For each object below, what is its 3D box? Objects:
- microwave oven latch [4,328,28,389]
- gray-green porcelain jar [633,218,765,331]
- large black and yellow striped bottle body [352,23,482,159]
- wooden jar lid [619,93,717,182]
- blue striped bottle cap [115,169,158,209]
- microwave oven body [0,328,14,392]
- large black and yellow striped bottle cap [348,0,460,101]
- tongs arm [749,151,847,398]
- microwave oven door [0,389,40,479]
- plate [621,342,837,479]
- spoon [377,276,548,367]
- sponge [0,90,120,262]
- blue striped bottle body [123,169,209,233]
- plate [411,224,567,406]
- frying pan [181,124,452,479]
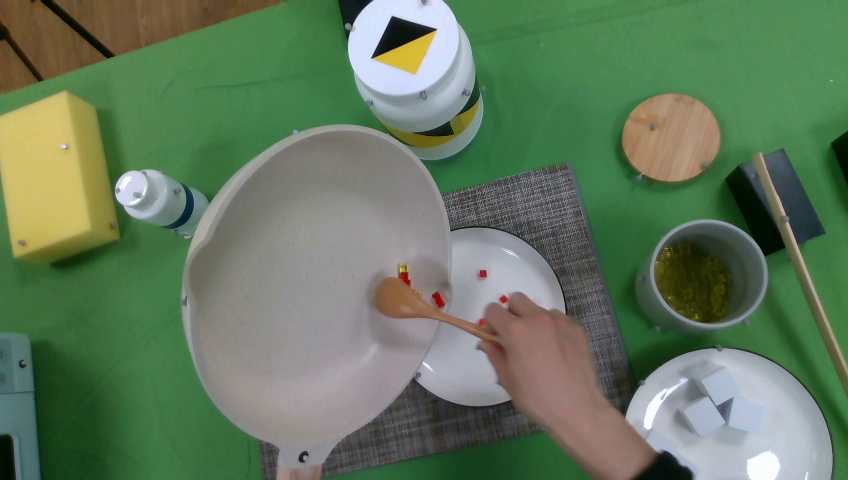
[{"bbox_3d":[-0.536,0.154,0.786,0.030,0.029,0.079,-11,79,8],"label":"microwave oven latch"},{"bbox_3d":[0.278,0.041,0.633,0.105,0.127,0.105,-2,79,10],"label":"gray-green porcelain jar"},{"bbox_3d":[-0.006,-0.181,0.694,0.130,0.185,0.130,-2,79,10],"label":"large black and yellow striped bottle body"},{"bbox_3d":[0.286,-0.120,0.714,0.108,0.021,0.108,-2,81,10],"label":"wooden jar lid"},{"bbox_3d":[-0.339,-0.060,0.712,0.044,0.021,0.044,-1,81,10],"label":"blue striped bottle cap"},{"bbox_3d":[-0.659,0.341,0.677,0.326,0.261,0.439,-14,78,7],"label":"microwave oven body"},{"bbox_3d":[-0.021,-0.198,0.612,0.115,0.019,0.114,-2,81,10],"label":"large black and yellow striped bottle cap"},{"bbox_3d":[0.425,0.083,0.616,0.051,0.026,0.384,-19,88,5],"label":"tongs arm"},{"bbox_3d":[-0.511,0.345,0.644,0.039,0.245,0.354,-14,78,8],"label":"microwave oven door"},{"bbox_3d":[0.315,0.213,0.642,0.207,0.039,0.207,-2,80,10],"label":"plate"},{"bbox_3d":[0.032,0.080,0.591,0.192,0.022,0.041,20,83,23],"label":"spoon"},{"bbox_3d":[-0.506,-0.086,0.830,0.118,0.061,0.206,-19,78,6],"label":"sponge"},{"bbox_3d":[-0.329,-0.050,0.761,0.063,0.121,0.063,-2,79,11],"label":"blue striped bottle body"},{"bbox_3d":[0.060,0.086,0.706,0.209,0.038,0.208,-2,80,10],"label":"plate"},{"bbox_3d":[-0.105,0.141,0.557,0.102,0.309,0.486,2,82,42],"label":"frying pan"}]
